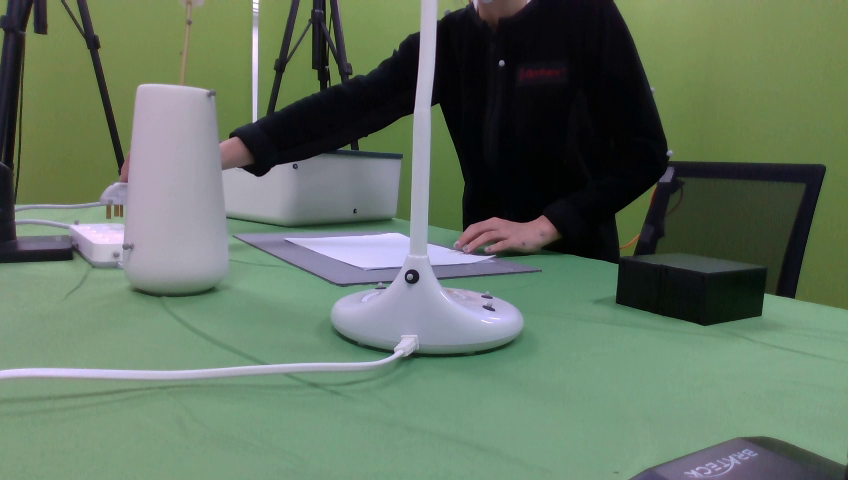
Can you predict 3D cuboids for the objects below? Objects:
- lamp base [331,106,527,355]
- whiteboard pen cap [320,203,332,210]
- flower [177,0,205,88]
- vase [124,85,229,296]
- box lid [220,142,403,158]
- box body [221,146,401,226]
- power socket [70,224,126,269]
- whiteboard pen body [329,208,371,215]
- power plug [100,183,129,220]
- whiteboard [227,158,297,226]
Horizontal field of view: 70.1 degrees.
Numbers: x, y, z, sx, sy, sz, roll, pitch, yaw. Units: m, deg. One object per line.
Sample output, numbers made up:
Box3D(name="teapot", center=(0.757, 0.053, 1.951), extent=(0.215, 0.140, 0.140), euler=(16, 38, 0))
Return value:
Box3D(name="lamp base", center=(0.006, -0.012, 0.478), extent=(0.161, 0.180, 0.179), euler=(2, 10, 2))
Box3D(name="whiteboard pen cap", center=(-0.247, -0.084, 1.531), extent=(0.033, 0.018, 0.018), euler=(9, 10, 39))
Box3D(name="flower", center=(-0.243, -0.131, 0.609), extent=(0.044, 0.361, 0.038), euler=(-5, -12, 12))
Box3D(name="vase", center=(-0.244, -0.047, 0.598), extent=(0.098, 0.200, 0.098), euler=(3, 8, 0))
Box3D(name="box lid", center=(-0.252, -0.202, 1.368), extent=(0.262, 0.015, 0.373), euler=(9, 9, 36))
Box3D(name="box body", center=(-0.254, -0.128, 1.379), extent=(0.253, 0.160, 0.366), euler=(8, 9, 36))
Box3D(name="power socket", center=(-0.409, 0.004, 0.792), extent=(0.072, 0.032, 0.225), euler=(-2, 8, -37))
Box3D(name="whiteboard pen body", center=(-0.189, -0.073, 1.522), extent=(0.140, 0.017, 0.017), euler=(3, 6, 37))
Box3D(name="power plug", center=(-0.416, -0.054, 0.855), extent=(0.073, 0.052, 0.035), euler=(1, 5, -41))
Box3D(name="whiteboard", center=(-0.265, -0.116, 1.372), extent=(0.216, 0.143, 0.307), euler=(4, 7, 35))
